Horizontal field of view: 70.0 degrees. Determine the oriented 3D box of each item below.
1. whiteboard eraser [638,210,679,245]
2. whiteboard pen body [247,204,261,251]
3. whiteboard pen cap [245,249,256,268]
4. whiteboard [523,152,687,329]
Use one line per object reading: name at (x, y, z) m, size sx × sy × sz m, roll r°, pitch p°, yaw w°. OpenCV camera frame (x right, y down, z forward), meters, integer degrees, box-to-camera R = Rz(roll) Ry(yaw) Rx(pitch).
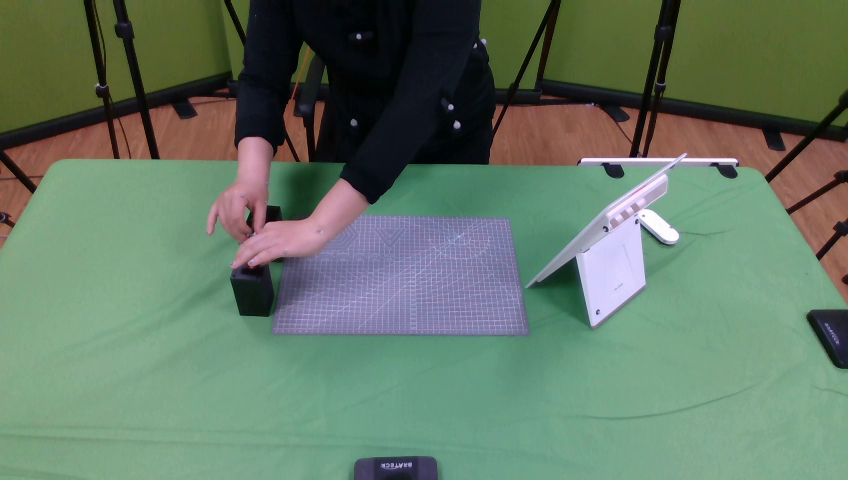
whiteboard eraser at (0.485, -0.026, 1.260) m, size 0.041 × 0.019 × 0.100 m, roll -20°, pitch 49°, yaw -22°
whiteboard pen body at (-0.295, -0.012, 1.052) m, size 0.017 × 0.017 × 0.139 m, roll -2°, pitch 46°, yaw -7°
whiteboard pen cap at (-0.289, 0.030, 1.009) m, size 0.017 × 0.017 × 0.032 m, roll -2°, pitch 41°, yaw -7°
whiteboard at (0.346, 0.025, 1.046) m, size 0.217 × 0.306 × 0.143 m, roll -30°, pitch 74°, yaw -29°
